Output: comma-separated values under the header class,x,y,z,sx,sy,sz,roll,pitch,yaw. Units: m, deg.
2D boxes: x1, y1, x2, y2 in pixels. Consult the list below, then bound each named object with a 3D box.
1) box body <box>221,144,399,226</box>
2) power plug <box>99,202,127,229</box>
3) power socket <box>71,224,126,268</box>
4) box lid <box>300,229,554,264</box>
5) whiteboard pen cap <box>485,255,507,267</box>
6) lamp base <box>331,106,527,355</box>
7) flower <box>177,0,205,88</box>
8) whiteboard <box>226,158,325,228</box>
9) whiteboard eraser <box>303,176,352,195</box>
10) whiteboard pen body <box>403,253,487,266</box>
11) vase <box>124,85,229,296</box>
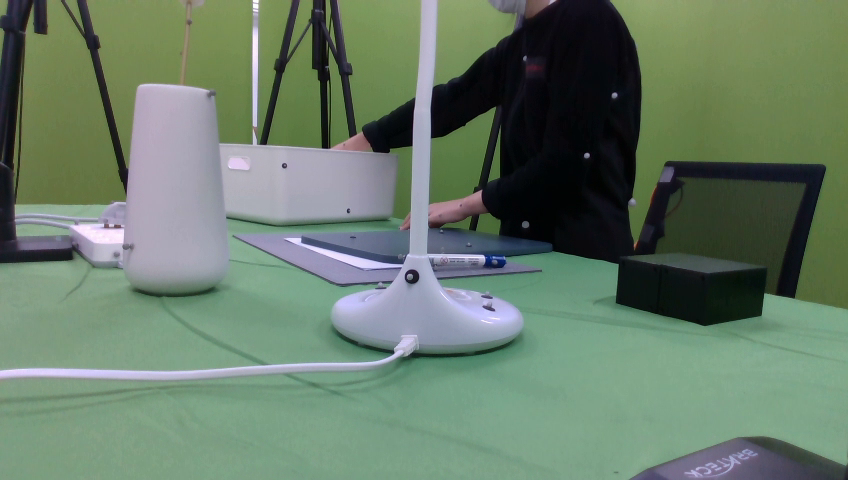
class,x,y,z,sx,sy,sz,roll,pitch,yaw
box body,-0.264,-0.129,1.380,0.253,0.160,0.366,8,9,39
power plug,-0.415,-0.026,0.848,0.073,0.052,0.035,6,5,-28
power socket,-0.409,0.004,0.793,0.072,0.032,0.225,-2,8,-37
box lid,0.011,0.006,0.999,0.374,0.015,0.262,-3,9,-43
whiteboard pen cap,0.093,0.028,0.810,0.033,0.018,0.018,2,7,-24
lamp base,0.006,-0.012,0.478,0.161,0.180,0.179,2,10,2
flower,-0.243,-0.131,0.609,0.044,0.361,0.038,-5,-12,11
whiteboard,-0.276,-0.119,1.376,0.216,0.143,0.307,7,10,39
whiteboard eraser,-0.238,-0.135,1.490,0.112,0.042,0.056,-2,13,22
whiteboard pen body,0.040,0.026,0.785,0.141,0.017,0.017,2,7,-24
vase,-0.244,-0.047,0.598,0.098,0.200,0.098,3,8,0
